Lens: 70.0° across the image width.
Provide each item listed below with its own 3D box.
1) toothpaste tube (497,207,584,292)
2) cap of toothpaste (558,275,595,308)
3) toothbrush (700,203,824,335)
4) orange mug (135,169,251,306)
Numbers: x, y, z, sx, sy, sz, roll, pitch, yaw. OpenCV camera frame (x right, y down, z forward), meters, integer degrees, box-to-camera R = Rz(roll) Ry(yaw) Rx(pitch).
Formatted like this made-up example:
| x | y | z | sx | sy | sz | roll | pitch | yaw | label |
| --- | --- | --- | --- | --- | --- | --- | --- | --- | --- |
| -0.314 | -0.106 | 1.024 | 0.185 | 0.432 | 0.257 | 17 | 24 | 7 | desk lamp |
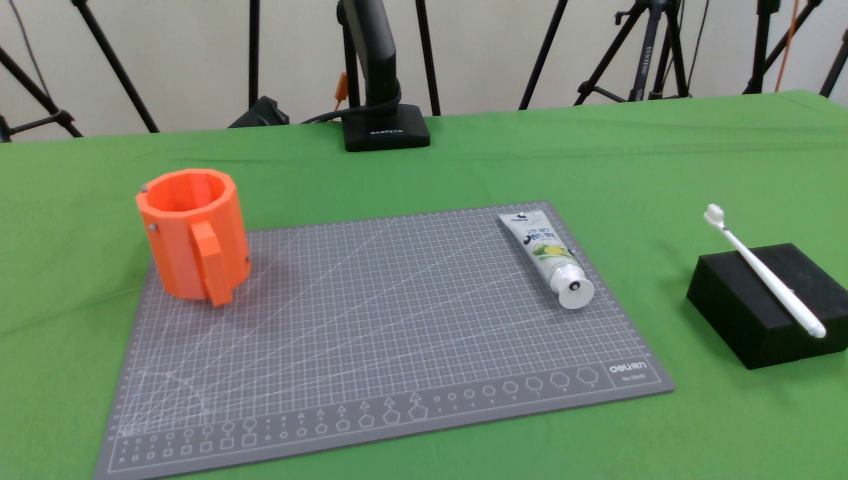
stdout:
| x | y | z | sx | sy | sz | roll | pitch | yaw | label |
| --- | --- | --- | --- | --- | --- | --- | --- | --- | --- |
| 0.127 | 0.007 | 0.632 | 0.055 | 0.035 | 0.163 | -2 | 32 | -14 | toothpaste tube |
| 0.142 | 0.047 | 0.567 | 0.037 | 0.037 | 0.011 | -8 | 33 | -11 | cap of toothpaste |
| 0.301 | 0.019 | 0.549 | 0.014 | 0.017 | 0.180 | 0 | 36 | -10 | toothbrush |
| -0.211 | 0.001 | 0.572 | 0.084 | 0.101 | 0.125 | -19 | 37 | -24 | orange mug |
